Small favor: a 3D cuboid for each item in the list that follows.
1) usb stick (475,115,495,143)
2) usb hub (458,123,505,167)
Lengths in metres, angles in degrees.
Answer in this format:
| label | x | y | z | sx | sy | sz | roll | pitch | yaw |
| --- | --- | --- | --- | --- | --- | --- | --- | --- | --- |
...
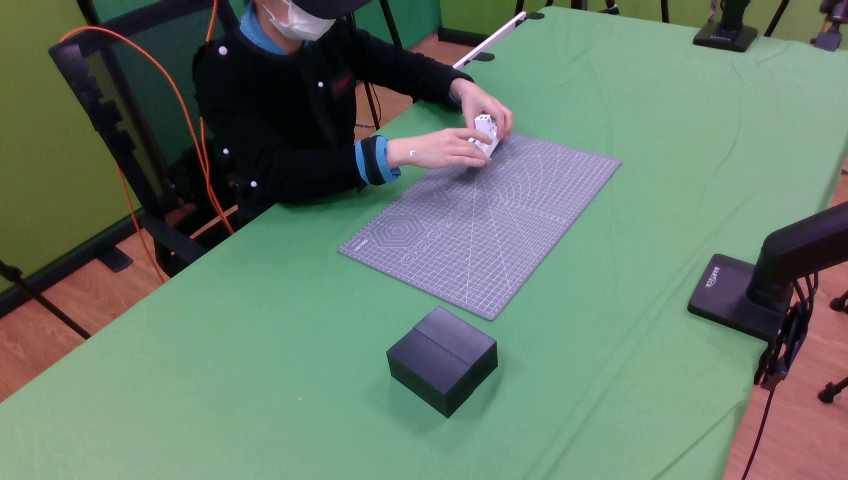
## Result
| label | x | y | z | sx | sy | sz | roll | pitch | yaw |
| --- | --- | --- | --- | --- | --- | --- | --- | --- | --- |
| usb stick | 0.112 | -0.196 | 1.099 | 0.027 | 0.059 | 0.021 | 6 | 38 | 24 |
| usb hub | 0.108 | -0.178 | 1.126 | 0.049 | 0.025 | 0.125 | 6 | 41 | 26 |
